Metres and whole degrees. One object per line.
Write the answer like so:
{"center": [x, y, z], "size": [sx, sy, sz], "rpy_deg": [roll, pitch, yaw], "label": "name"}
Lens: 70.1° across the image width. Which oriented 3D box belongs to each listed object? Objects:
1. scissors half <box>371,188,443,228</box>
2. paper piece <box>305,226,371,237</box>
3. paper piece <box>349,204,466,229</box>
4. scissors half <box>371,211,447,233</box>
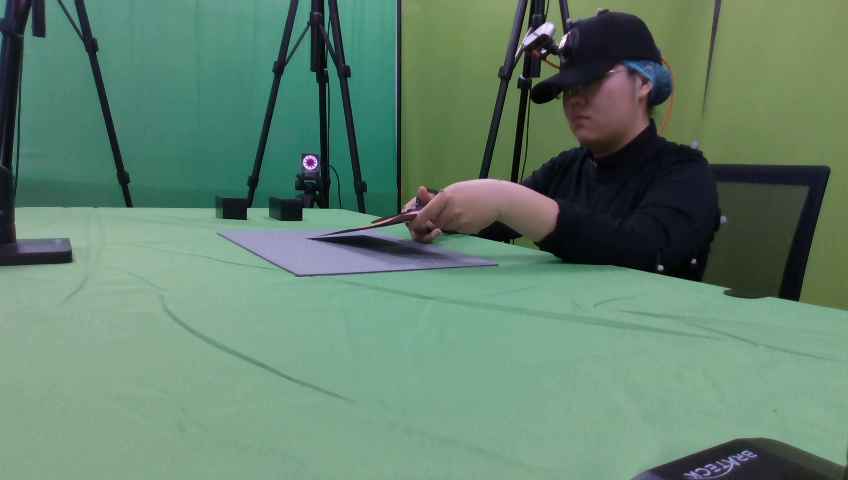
{"center": [-0.029, -0.052, 1.045], "size": [0.013, 0.040, 0.176], "rpy_deg": [-16, 11, 47], "label": "scissors half"}
{"center": [-0.118, -0.021, 1.051], "size": [0.136, 0.004, 0.135], "rpy_deg": [-10, 2, -44], "label": "paper piece"}
{"center": [-0.027, -0.038, 0.948], "size": [0.136, 0.008, 0.137], "rpy_deg": [-21, 11, -38], "label": "paper piece"}
{"center": [-0.025, -0.032, 1.046], "size": [0.176, 0.040, 0.012], "rpy_deg": [-2, -4, -43], "label": "scissors half"}
